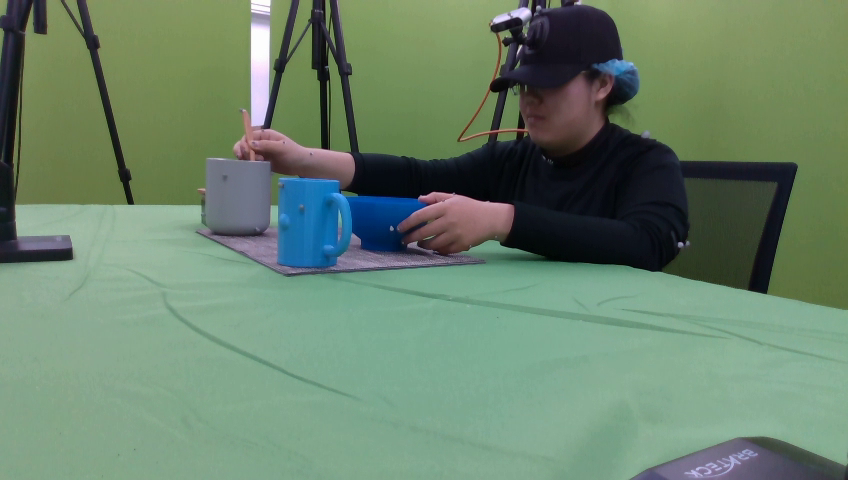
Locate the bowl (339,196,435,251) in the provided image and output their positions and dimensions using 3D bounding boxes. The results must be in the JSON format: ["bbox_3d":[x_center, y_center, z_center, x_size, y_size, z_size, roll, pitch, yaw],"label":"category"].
[{"bbox_3d":[-0.061,-0.026,0.945,0.151,0.077,0.151,3,7,0],"label":"bowl"}]

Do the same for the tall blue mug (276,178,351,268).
[{"bbox_3d":[-0.133,-0.022,0.766,0.107,0.108,0.078,4,6,12],"label":"tall blue mug"}]

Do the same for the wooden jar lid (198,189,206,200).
[{"bbox_3d":[-0.382,-0.088,1.175,0.108,0.020,0.108,3,8,0],"label":"wooden jar lid"}]

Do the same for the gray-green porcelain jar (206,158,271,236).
[{"bbox_3d":[-0.316,-0.074,1.031,0.106,0.126,0.106,3,7,0],"label":"gray-green porcelain jar"}]

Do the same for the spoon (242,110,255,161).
[{"bbox_3d":[-0.297,-0.134,1.037,0.021,0.193,0.042,-15,-15,39],"label":"spoon"}]
